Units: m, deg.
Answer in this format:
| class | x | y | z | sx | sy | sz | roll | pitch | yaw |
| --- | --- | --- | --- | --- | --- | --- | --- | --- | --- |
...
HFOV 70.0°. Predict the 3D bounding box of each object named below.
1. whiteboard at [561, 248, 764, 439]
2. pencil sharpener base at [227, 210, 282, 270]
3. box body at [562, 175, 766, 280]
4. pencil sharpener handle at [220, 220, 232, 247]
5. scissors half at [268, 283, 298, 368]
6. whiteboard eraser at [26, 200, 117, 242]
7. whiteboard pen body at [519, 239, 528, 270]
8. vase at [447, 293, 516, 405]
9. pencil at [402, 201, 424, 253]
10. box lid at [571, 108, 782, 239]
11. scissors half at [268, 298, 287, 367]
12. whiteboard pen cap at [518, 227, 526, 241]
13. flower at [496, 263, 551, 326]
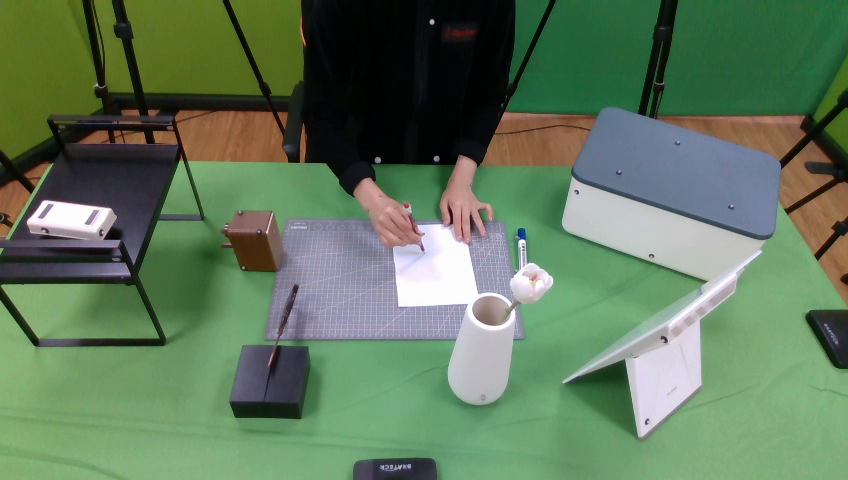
| class | x | y | z | sx | sy | sz | roll | pitch | yaw |
| --- | --- | --- | --- | --- | --- | --- | --- | --- | --- |
| whiteboard | 0.386 | 0.176 | 0.905 | 0.217 | 0.306 | 0.143 | -26 | 72 | -27 |
| pencil sharpener base | -0.311 | 0.001 | 1.112 | 0.077 | 0.107 | 0.061 | 0 | 47 | 1 |
| box body | 0.486 | -0.088 | 1.222 | 0.363 | 0.161 | 0.253 | 20 | 48 | 15 |
| pencil sharpener handle | -0.362 | -0.009 | 1.105 | 0.030 | 0.068 | 0.036 | 0 | 52 | 1 |
| scissors half | -0.230 | 0.135 | 0.986 | 0.013 | 0.040 | 0.174 | 19 | 43 | -11 |
| whiteboard eraser | -0.532 | -0.026 | 0.919 | 0.113 | 0.042 | 0.055 | 7 | 45 | 3 |
| whiteboard pen body | 0.193 | 0.035 | 1.181 | 0.017 | 0.017 | 0.140 | 6 | 48 | 1 |
| vase | 0.091 | 0.169 | 0.921 | 0.098 | 0.201 | 0.097 | 3 | 47 | -3 |
| pencil | -0.017 | -0.018 | 1.096 | 0.012 | 0.195 | 0.012 | -4 | 63 | 8 |
| box lid | 0.491 | -0.139 | 1.168 | 0.370 | 0.015 | 0.262 | 21 | 49 | 15 |
| scissors half | -0.239 | 0.150 | 0.997 | 0.013 | 0.040 | 0.174 | 24 | 24 | -14 |
| whiteboard pen cap | 0.197 | -0.009 | 1.220 | 0.018 | 0.018 | 0.033 | 5 | 50 | 1 |
| flower | 0.102 | 0.121 | 0.853 | 0.044 | 0.363 | 0.038 | -2 | 64 | -10 |
